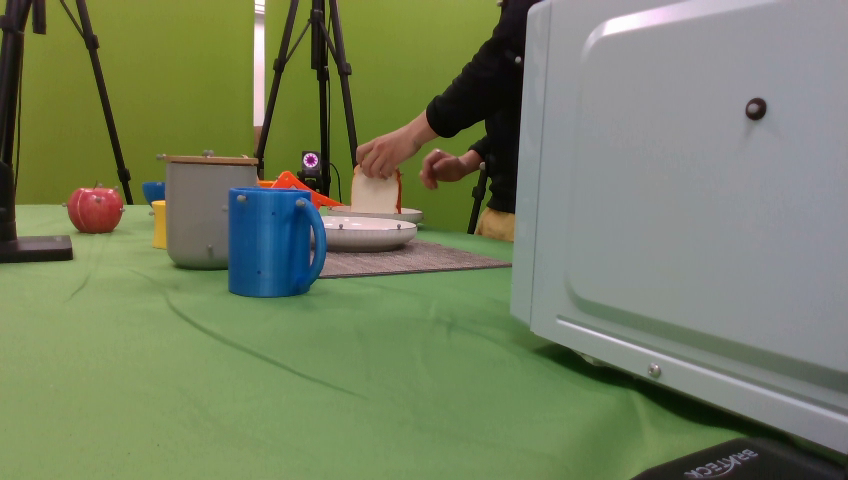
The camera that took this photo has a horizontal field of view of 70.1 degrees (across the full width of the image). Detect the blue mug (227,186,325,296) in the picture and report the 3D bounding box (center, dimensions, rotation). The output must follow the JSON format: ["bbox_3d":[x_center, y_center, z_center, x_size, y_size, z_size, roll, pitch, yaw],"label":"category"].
[{"bbox_3d":[-0.147,0.000,0.618,0.116,0.106,0.083,7,9,32],"label":"blue mug"}]

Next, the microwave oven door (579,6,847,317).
[{"bbox_3d":[0.294,-0.067,0.570,0.358,0.243,0.039,-3,9,-31],"label":"microwave oven door"}]

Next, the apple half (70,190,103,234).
[{"bbox_3d":[-0.552,-0.047,1.009,0.053,0.074,0.081,-1,9,26],"label":"apple half"}]

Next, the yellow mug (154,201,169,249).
[{"bbox_3d":[-0.338,-0.022,0.899,0.130,0.064,0.100,8,9,34],"label":"yellow mug"}]

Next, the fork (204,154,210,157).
[{"bbox_3d":[-0.480,-0.135,1.412,0.028,0.018,0.207,0,-34,-1],"label":"fork"}]

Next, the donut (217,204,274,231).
[{"bbox_3d":[-0.317,-0.038,1.080,0.099,0.048,0.099,3,7,0],"label":"donut"}]

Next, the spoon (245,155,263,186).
[{"bbox_3d":[-0.421,-0.150,1.540,0.042,0.021,0.193,-5,55,-37],"label":"spoon"}]

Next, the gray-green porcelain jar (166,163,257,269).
[{"bbox_3d":[-0.263,-0.031,0.754,0.106,0.126,0.106,2,7,0],"label":"gray-green porcelain jar"}]

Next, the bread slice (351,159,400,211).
[{"bbox_3d":[-0.103,-0.103,1.271,0.107,0.134,0.018,-1,4,4],"label":"bread slice"}]

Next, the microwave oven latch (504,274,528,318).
[{"bbox_3d":[0.100,0.041,0.471,0.079,0.029,0.030,-1,8,-28],"label":"microwave oven latch"}]

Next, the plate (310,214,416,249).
[{"bbox_3d":[-0.117,-0.014,0.967,0.208,0.039,0.207,2,7,0],"label":"plate"}]

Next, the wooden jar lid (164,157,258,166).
[{"bbox_3d":[-0.261,-0.093,0.746,0.108,0.020,0.108,0,9,0],"label":"wooden jar lid"}]

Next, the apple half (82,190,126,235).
[{"bbox_3d":[-0.516,-0.046,0.994,0.032,0.081,0.081,0,6,26],"label":"apple half"}]

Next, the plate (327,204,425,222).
[{"bbox_3d":[-0.102,-0.053,1.299,0.209,0.038,0.209,2,7,0],"label":"plate"}]

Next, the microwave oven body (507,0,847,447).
[{"bbox_3d":[0.331,-0.042,0.425,0.444,0.260,0.324,-2,8,-31],"label":"microwave oven body"}]

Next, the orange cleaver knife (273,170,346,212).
[{"bbox_3d":[-0.253,-0.089,1.368,0.212,0.077,0.012,26,-8,-42],"label":"orange cleaver knife"}]

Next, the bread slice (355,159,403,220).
[{"bbox_3d":[-0.095,-0.110,1.322,0.105,0.131,0.019,5,5,6],"label":"bread slice"}]

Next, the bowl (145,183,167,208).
[{"bbox_3d":[-0.459,-0.068,1.175,0.151,0.077,0.151,2,7,0],"label":"bowl"}]
